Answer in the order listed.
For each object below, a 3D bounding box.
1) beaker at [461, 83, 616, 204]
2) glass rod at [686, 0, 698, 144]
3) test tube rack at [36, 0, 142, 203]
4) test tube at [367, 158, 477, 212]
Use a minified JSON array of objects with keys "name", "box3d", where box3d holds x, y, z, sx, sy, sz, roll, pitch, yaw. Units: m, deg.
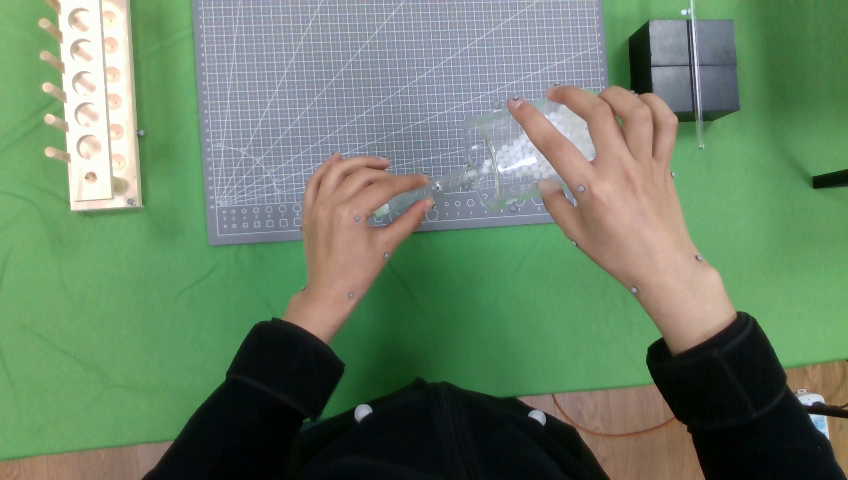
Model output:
[{"name":"beaker","box3d":[0.086,-0.075,0.464,0.100,0.084,0.074,-15,88,-8]},{"name":"glass rod","box3d":[0.289,-0.202,0.654,0.008,0.008,0.199,-2,89,-7]},{"name":"test tube rack","box3d":[-0.328,-0.162,0.583,0.067,0.085,0.242,-4,89,-7]},{"name":"test tube","box3d":[-0.007,-0.047,0.551,0.017,0.149,0.017,10,74,-37]}]
